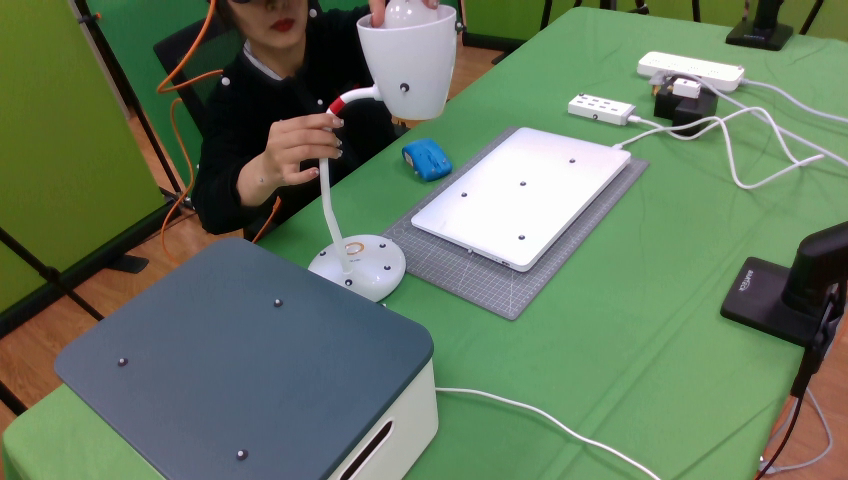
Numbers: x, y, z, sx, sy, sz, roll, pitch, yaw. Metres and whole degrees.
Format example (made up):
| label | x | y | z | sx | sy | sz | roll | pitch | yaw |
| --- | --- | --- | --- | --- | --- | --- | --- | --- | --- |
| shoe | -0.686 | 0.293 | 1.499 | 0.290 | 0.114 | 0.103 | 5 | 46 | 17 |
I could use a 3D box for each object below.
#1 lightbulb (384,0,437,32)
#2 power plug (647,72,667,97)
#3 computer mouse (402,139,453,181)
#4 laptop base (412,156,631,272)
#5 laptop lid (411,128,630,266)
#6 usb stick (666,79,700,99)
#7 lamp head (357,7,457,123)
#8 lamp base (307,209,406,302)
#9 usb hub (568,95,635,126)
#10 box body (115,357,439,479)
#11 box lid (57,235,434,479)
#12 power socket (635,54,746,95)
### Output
| label | x | y | z | sx | sy | sz | roll | pitch | yaw |
| --- | --- | --- | --- | --- | --- | --- | --- | --- | --- |
| lightbulb | -0.013 | -0.224 | 0.693 | 0.059 | 0.108 | 0.059 | -4 | 24 | 2 |
| power plug | 0.493 | -0.320 | 1.260 | 0.073 | 0.052 | 0.035 | 2 | 19 | -41 |
| computer mouse | 0.005 | -0.159 | 1.166 | 0.063 | 0.041 | 0.116 | -21 | 45 | -17 |
| laptop base | 0.176 | -0.084 | 1.055 | 0.233 | 0.023 | 0.355 | 21 | 48 | 36 |
| laptop lid | 0.172 | -0.093 | 1.049 | 0.239 | 0.013 | 0.358 | 24 | 50 | 36 |
| usb stick | 0.492 | -0.288 | 1.152 | 0.058 | 0.027 | 0.021 | 20 | 51 | 34 |
| lamp head | -0.018 | -0.198 | 0.701 | 0.112 | 0.123 | 0.112 | -1 | 33 | 1 |
| lamp base | -0.116 | -0.003 | 0.889 | 0.161 | 0.181 | 0.178 | -15 | 43 | -5 |
| usb hub | 0.360 | -0.264 | 1.228 | 0.124 | 0.025 | 0.049 | 24 | 49 | 34 |
| box body | -0.189 | 0.179 | 0.702 | 0.361 | 0.161 | 0.255 | 22 | 49 | 32 |
| box lid | -0.198 | 0.123 | 0.653 | 0.368 | 0.015 | 0.264 | 22 | 49 | 32 |
| power socket | 0.564 | -0.357 | 1.293 | 0.225 | 0.033 | 0.072 | 24 | 51 | 33 |
